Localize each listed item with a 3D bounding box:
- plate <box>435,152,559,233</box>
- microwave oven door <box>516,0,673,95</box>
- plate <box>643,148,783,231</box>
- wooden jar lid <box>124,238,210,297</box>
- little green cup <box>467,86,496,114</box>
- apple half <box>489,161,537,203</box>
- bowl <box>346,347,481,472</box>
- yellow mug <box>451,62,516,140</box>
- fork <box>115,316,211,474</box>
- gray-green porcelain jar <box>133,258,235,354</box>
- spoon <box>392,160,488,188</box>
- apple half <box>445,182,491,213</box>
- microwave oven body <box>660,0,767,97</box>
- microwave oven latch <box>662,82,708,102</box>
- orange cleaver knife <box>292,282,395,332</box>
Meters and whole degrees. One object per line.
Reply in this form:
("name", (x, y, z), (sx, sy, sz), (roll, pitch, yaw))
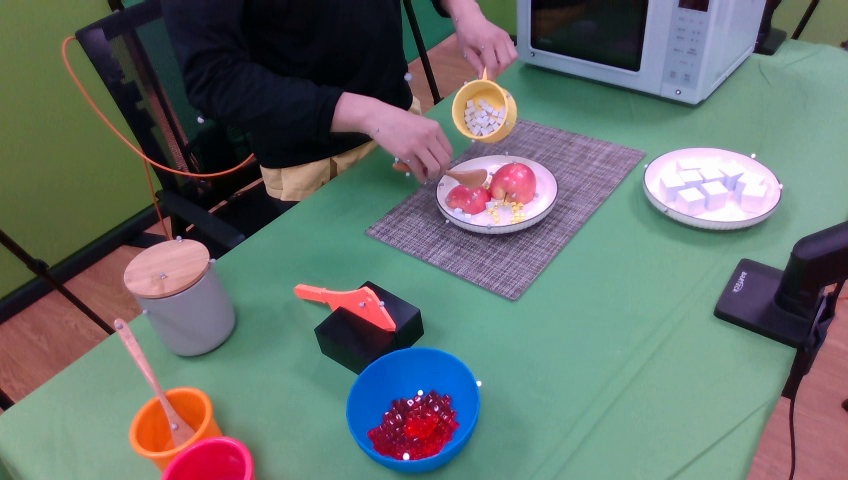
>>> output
("plate", (0.124, -0.078, 1.026), (0.209, 0.038, 0.208), (-4, 40, 4))
("microwave oven door", (0.344, -0.458, 1.257), (0.353, 0.245, 0.039), (26, 51, 33))
("plate", (0.464, -0.080, 0.986), (0.207, 0.039, 0.206), (-4, 41, 4))
("wooden jar lid", (-0.335, 0.039, 0.794), (0.108, 0.021, 0.108), (-2, 40, 2))
("little green cup", (0.123, -0.297, 1.285), (0.061, 0.039, 0.061), (-6, 41, 6))
("apple half", (0.154, -0.106, 1.030), (0.080, 0.053, 0.075), (22, 46, 31))
("bowl", (-0.008, 0.205, 0.691), (0.151, 0.077, 0.150), (-4, 40, 4))
("yellow mug", (0.105, -0.241, 1.044), (0.099, 0.131, 0.064), (8, 6, 18))
("fork", (-0.308, 0.179, 0.708), (0.028, 0.018, 0.207), (-30, 89, -22))
("gray-green porcelain jar", (-0.327, 0.086, 0.836), (0.106, 0.127, 0.105), (-4, 41, 4))
("spoon", (0.028, -0.104, 0.917), (0.195, 0.041, 0.021), (5, 42, -38))
("apple half", (0.076, -0.084, 1.029), (0.081, 0.033, 0.081), (-2, 44, 2))
("microwave oven body", (0.474, -0.517, 1.313), (0.438, 0.261, 0.327), (26, 51, 34))
("microwave oven latch", (0.518, -0.298, 1.202), (0.078, 0.029, 0.030), (28, 53, 35))
("orange cleaver knife", (-0.116, 0.091, 0.835), (0.209, 0.077, 0.012), (2, 32, 48))
